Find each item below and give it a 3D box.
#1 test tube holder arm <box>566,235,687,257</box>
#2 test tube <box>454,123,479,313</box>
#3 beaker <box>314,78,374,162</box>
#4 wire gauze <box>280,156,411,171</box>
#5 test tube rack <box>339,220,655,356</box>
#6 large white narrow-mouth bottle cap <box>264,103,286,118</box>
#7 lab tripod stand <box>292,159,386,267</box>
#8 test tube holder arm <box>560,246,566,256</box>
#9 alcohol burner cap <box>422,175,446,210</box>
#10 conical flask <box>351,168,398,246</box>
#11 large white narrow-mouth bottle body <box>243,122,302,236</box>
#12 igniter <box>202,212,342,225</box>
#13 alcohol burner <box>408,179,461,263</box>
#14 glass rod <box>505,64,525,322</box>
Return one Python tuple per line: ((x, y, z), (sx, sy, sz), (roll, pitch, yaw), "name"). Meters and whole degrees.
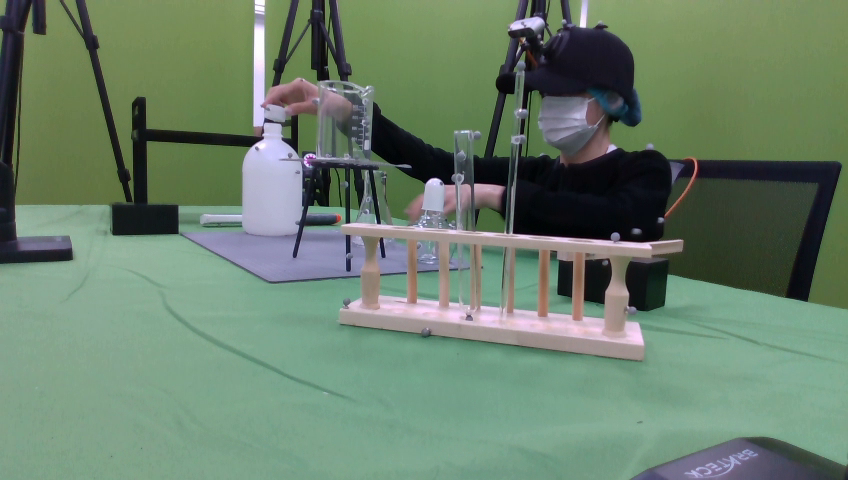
((0.215, 0.006, 0.629), (0.179, 0.015, 0.013), (-3, 9, -30), "test tube holder arm")
((0.034, -0.016, 0.477), (0.017, 0.150, 0.017), (-2, 9, 1), "test tube")
((-0.101, -0.151, 0.775), (0.074, 0.100, 0.083), (-2, 8, -39), "beaker")
((-0.103, -0.103, 0.785), (0.121, 0.011, 0.126), (11, 8, 42), "wire gauze")
((0.056, 0.032, 0.495), (0.242, 0.085, 0.067), (4, 7, 15), "test tube rack")
((-0.258, -0.224, 1.047), (0.038, 0.024, 0.037), (2, 8, 0), "large white narrow-mouth bottle cap")
((-0.105, -0.039, 0.797), (0.148, 0.131, 0.148), (2, 5, 0), "lab tripod stand")
((0.173, 0.007, 0.611), (0.088, 0.015, 0.010), (-3, 9, -30), "test tube holder arm")
((0.016, -0.065, 0.830), (0.034, 0.048, 0.034), (7, 4, 0), "alcohol burner cap")
((-0.078, -0.053, 0.962), (0.075, 0.122, 0.075), (2, 7, 0), "conical flask")
((-0.264, -0.109, 1.061), (0.102, 0.194, 0.102), (2, 8, 0), "large white narrow-mouth bottle body")
((-0.298, -0.043, 1.216), (0.278, 0.025, 0.057), (-3, -2, -32), "igniter")
((0.013, -0.029, 0.834), (0.078, 0.119, 0.078), (0, 6, 0), "alcohol burner")
((0.069, -0.030, 0.458), (0.008, 0.199, 0.008), (0, 15, 0), "glass rod")
